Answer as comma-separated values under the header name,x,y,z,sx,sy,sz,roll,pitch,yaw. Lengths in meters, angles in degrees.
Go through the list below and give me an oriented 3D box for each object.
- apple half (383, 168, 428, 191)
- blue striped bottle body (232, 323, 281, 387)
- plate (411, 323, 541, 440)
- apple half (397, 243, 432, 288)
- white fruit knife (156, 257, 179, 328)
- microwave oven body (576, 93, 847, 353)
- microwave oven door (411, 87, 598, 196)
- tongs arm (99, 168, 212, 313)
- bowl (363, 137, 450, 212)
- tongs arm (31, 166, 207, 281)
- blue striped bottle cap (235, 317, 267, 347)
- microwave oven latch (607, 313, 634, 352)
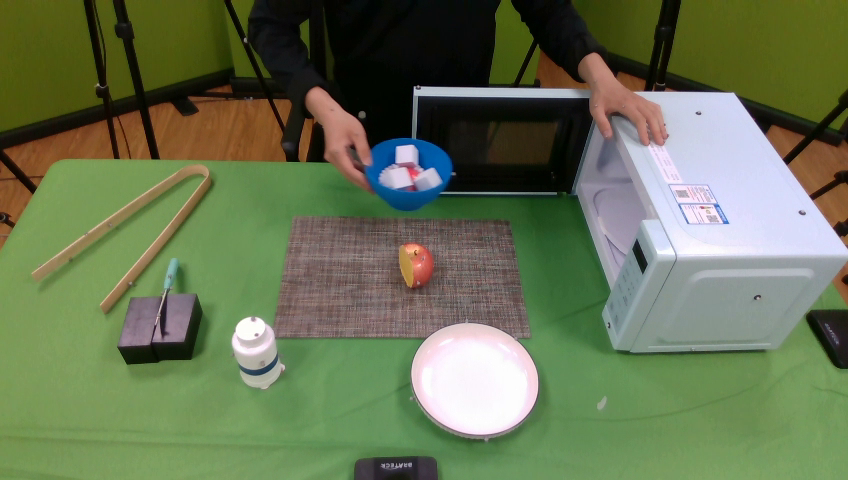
name,x,y,z,sx,sy,sz,roll,pitch,yaw
apple half,-0.034,-0.105,1.054,0.081,0.033,0.081,4,43,-3
blue striped bottle body,-0.262,0.172,0.944,0.063,0.121,0.062,2,46,-2
plate,0.082,0.228,0.976,0.208,0.039,0.206,2,45,-2
apple half,-0.013,0.047,1.115,0.053,0.075,0.080,-10,43,-21
white fruit knife,-0.440,0.085,1.037,0.016,0.027,0.206,10,26,-19
microwave oven body,0.475,-0.041,1.109,0.326,0.261,0.438,-1,45,-4
microwave oven door,0.149,-0.194,1.226,0.356,0.245,0.039,0,45,-5
tongs arm,-0.504,-0.012,1.167,0.028,0.028,0.385,11,46,10
bowl,-0.032,-0.103,1.057,0.151,0.077,0.150,3,46,-3
tongs arm,-0.578,-0.040,1.185,0.050,0.026,0.384,23,48,17
blue striped bottle cap,-0.259,0.137,0.907,0.044,0.021,0.044,3,43,-2
microwave oven latch,0.335,0.154,1.043,0.030,0.029,0.078,4,45,1
